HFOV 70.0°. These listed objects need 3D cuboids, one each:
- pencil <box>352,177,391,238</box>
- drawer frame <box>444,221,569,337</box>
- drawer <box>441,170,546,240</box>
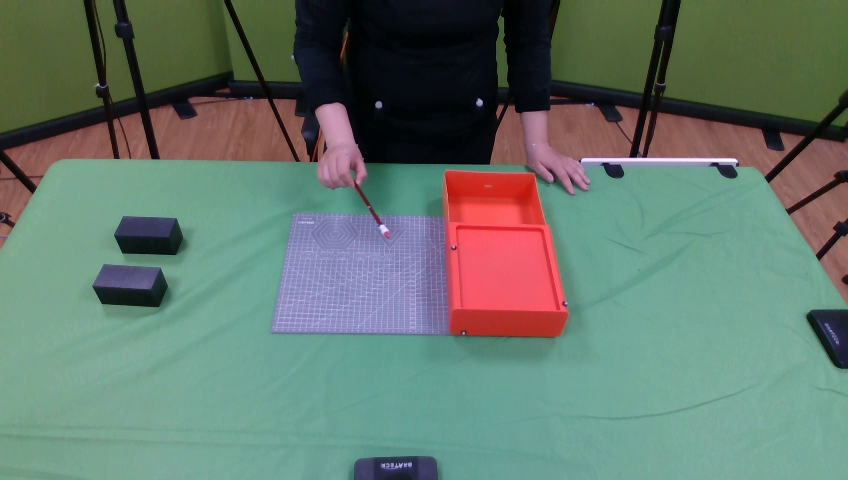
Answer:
[{"bbox_3d":[-0.102,-0.065,1.122,0.012,0.012,0.192,-16,45,-19],"label":"pencil"},{"bbox_3d":[0.141,0.067,1.097,0.202,0.083,0.212,2,46,-4],"label":"drawer frame"},{"bbox_3d":[0.137,-0.048,1.214,0.195,0.073,0.210,2,44,-4],"label":"drawer"}]
